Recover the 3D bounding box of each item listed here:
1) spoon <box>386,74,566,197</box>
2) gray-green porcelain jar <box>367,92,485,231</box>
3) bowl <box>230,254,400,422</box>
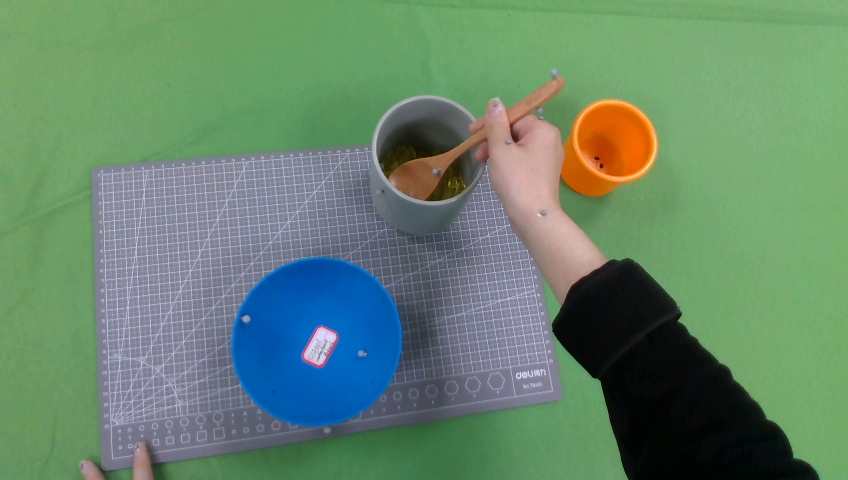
[{"bbox_3d":[0.041,-0.088,0.536,0.193,0.022,0.041,-30,83,30],"label":"spoon"},{"bbox_3d":[-0.003,-0.069,0.598,0.106,0.127,0.105,2,77,-6],"label":"gray-green porcelain jar"},{"bbox_3d":[-0.100,0.094,0.575,0.152,0.077,0.150,2,77,-7],"label":"bowl"}]
